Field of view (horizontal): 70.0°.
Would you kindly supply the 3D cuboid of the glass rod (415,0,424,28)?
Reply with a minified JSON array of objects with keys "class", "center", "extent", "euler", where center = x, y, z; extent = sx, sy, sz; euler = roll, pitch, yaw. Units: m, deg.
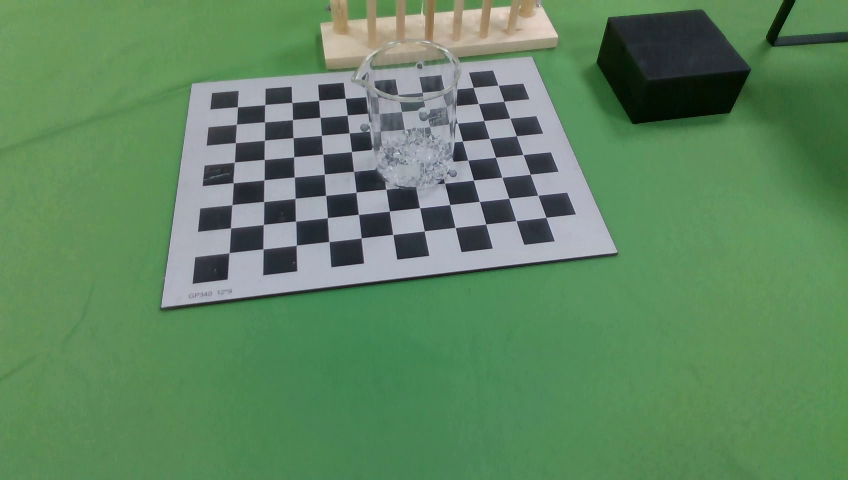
[{"class":"glass rod","center":[0.005,-0.288,0.569],"extent":[0.008,0.201,0.008],"euler":[5,53,-6]}]

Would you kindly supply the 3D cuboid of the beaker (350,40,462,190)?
[{"class":"beaker","center":[-0.013,-0.096,0.487],"extent":[0.084,0.101,0.073],"euler":[-6,51,-5]}]

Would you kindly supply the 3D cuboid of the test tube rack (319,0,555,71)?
[{"class":"test tube rack","center":[0.013,-0.238,0.615],"extent":[0.243,0.086,0.066],"euler":[-8,52,-7]}]
